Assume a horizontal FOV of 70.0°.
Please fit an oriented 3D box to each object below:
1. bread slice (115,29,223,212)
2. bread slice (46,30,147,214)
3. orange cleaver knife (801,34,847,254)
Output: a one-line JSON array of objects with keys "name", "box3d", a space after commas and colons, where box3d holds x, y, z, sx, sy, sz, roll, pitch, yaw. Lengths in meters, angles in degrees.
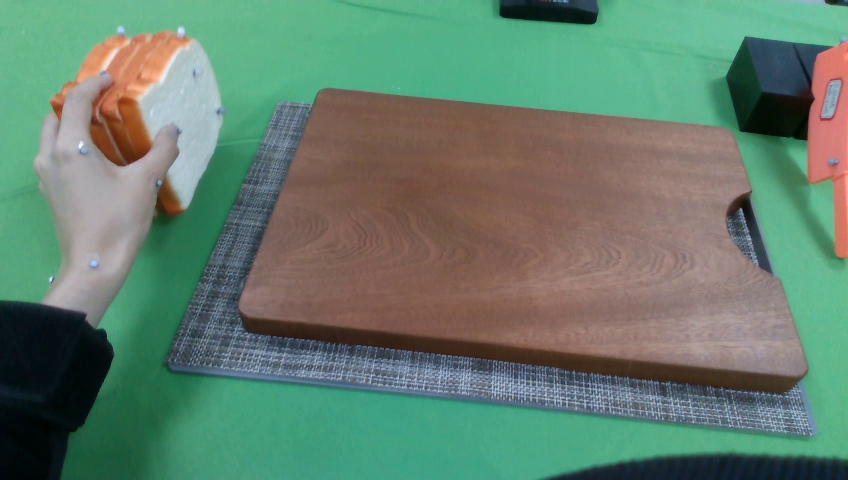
[{"name": "bread slice", "box3d": [-0.191, -0.103, 0.476, 0.019, 0.106, 0.130, 1, 45, 4]}, {"name": "bread slice", "box3d": [-0.242, -0.100, 0.481, 0.018, 0.108, 0.133, 0, 44, -1]}, {"name": "orange cleaver knife", "box3d": [0.364, -0.087, 0.549, 0.012, 0.077, 0.210, 7, 78, 3]}]
